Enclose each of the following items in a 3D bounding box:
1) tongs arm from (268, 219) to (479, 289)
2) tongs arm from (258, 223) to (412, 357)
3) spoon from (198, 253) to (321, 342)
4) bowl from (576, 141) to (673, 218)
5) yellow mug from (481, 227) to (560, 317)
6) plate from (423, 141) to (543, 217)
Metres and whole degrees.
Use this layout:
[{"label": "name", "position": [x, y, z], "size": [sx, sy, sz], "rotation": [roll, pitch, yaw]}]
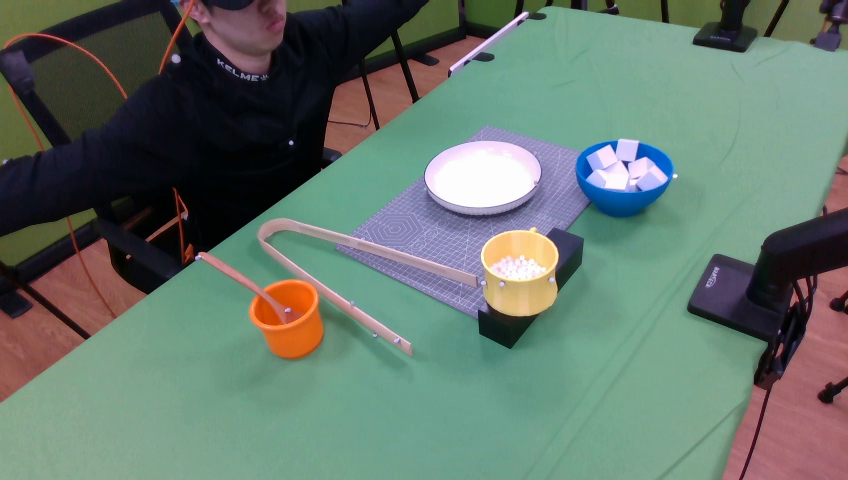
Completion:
[{"label": "tongs arm", "position": [-0.090, 0.018, 0.952], "size": [0.385, 0.028, 0.028], "rotation": [15, 50, 26]}, {"label": "tongs arm", "position": [-0.141, 0.063, 0.905], "size": [0.381, 0.026, 0.051], "rotation": [27, 52, 35]}, {"label": "spoon", "position": [-0.220, 0.075, 0.814], "size": [0.021, 0.194, 0.041], "rotation": [-36, 19, 39]}, {"label": "bowl", "position": [0.321, -0.089, 0.984], "size": [0.151, 0.077, 0.150], "rotation": [-4, 40, 4]}, {"label": "yellow mug", "position": [0.132, 0.032, 0.801], "size": [0.099, 0.064, 0.131], "rotation": [11, 43, 20]}, {"label": "plate", "position": [0.103, -0.103, 1.059], "size": [0.207, 0.039, 0.206], "rotation": [-4, 40, 4]}]
